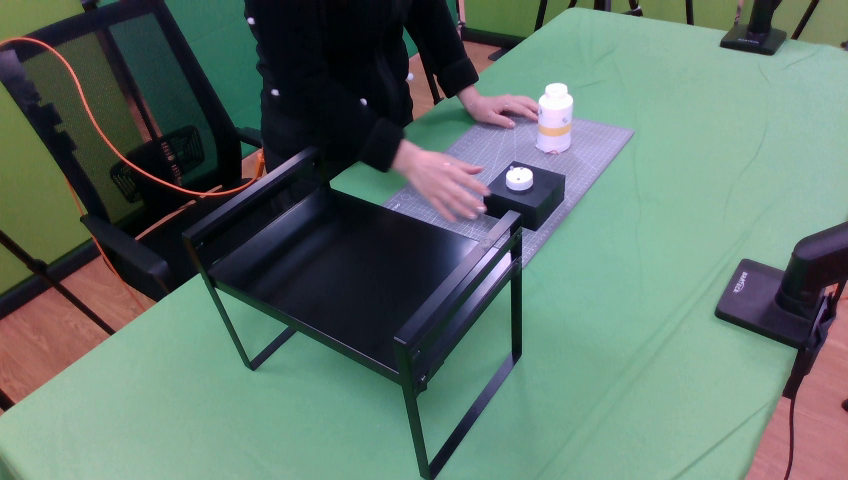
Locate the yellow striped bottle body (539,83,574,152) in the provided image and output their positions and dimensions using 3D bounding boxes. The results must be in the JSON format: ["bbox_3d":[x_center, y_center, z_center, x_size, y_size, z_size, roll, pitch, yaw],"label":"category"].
[{"bbox_3d":[0.246,-0.230,1.126,0.063,0.121,0.062,-5,41,4],"label":"yellow striped bottle body"}]

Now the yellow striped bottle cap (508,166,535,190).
[{"bbox_3d":[0.160,-0.102,0.995,0.044,0.019,0.044,-6,40,6],"label":"yellow striped bottle cap"}]
